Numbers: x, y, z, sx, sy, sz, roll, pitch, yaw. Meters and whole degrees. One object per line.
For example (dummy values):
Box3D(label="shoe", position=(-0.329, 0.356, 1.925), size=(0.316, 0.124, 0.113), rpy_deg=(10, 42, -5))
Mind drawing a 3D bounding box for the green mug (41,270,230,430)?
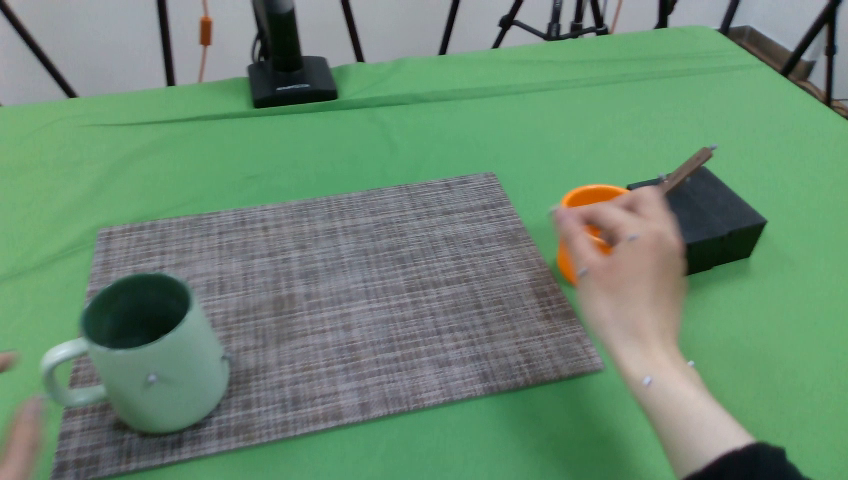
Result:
Box3D(label="green mug", position=(-0.221, 0.092, 0.467), size=(0.125, 0.106, 0.091), rpy_deg=(-18, 46, -19))

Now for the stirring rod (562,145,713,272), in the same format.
Box3D(label="stirring rod", position=(0.204, -0.028, 0.587), size=(0.176, 0.006, 0.014), rpy_deg=(-43, 48, 16))
